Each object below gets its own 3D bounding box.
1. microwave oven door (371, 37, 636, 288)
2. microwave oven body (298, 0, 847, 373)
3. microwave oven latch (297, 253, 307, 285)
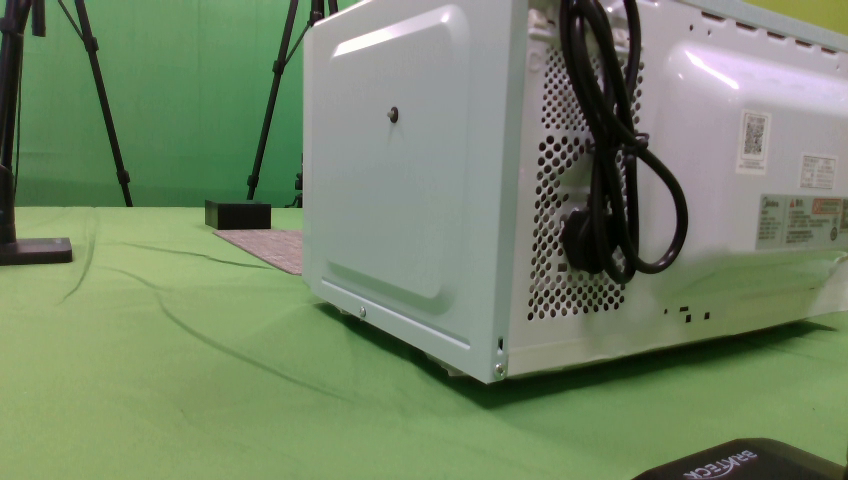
[{"bbox_3d":[0.109,-0.080,0.686,0.358,0.243,0.039,-2,9,-33],"label":"microwave oven door"},{"bbox_3d":[0.151,-0.055,0.543,0.444,0.260,0.324,-1,7,-33],"label":"microwave oven body"},{"bbox_3d":[-0.082,0.027,0.582,0.079,0.029,0.030,-1,7,-32],"label":"microwave oven latch"}]
